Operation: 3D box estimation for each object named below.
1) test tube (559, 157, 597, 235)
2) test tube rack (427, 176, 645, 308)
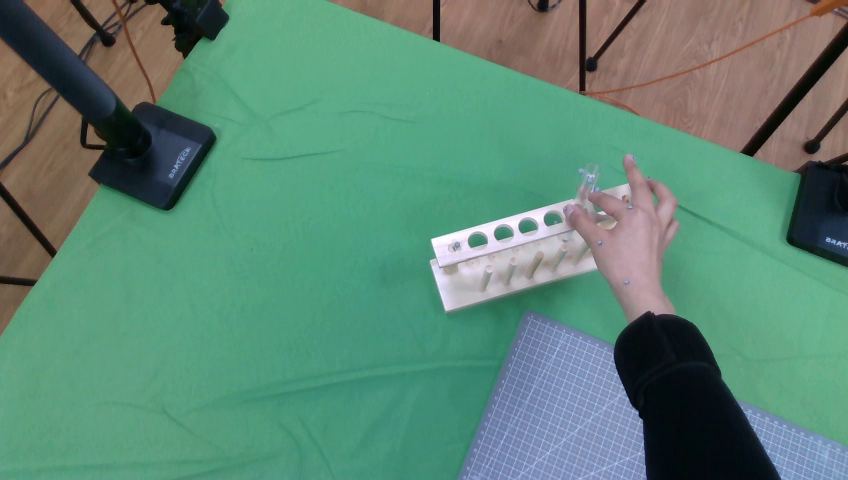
[{"bbox_3d":[0.165,-0.043,0.659,0.017,0.151,0.017,-1,64,2],"label":"test tube"},{"bbox_3d":[0.128,0.004,0.695,0.242,0.086,0.066,-16,71,-6],"label":"test tube rack"}]
